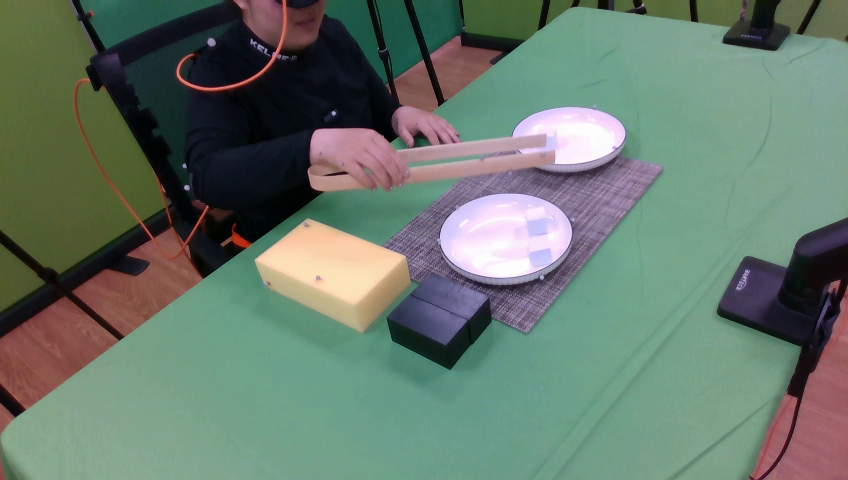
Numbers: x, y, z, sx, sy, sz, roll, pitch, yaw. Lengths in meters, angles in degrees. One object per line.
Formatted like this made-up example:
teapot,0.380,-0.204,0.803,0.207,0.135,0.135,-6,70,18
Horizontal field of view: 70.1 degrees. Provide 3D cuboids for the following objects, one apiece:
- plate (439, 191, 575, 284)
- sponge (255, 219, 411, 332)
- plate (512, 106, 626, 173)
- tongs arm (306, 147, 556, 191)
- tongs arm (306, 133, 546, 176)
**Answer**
plate,0.129,-0.002,0.942,0.207,0.039,0.206,-5,40,5
sponge,-0.139,0.048,0.922,0.205,0.061,0.118,19,47,30
plate,0.269,-0.185,1.132,0.209,0.038,0.208,-5,40,5
tongs arm,0.012,-0.115,0.938,0.386,0.026,0.050,-9,37,-5
tongs arm,0.008,-0.135,0.966,0.388,0.028,0.028,-8,41,-4
